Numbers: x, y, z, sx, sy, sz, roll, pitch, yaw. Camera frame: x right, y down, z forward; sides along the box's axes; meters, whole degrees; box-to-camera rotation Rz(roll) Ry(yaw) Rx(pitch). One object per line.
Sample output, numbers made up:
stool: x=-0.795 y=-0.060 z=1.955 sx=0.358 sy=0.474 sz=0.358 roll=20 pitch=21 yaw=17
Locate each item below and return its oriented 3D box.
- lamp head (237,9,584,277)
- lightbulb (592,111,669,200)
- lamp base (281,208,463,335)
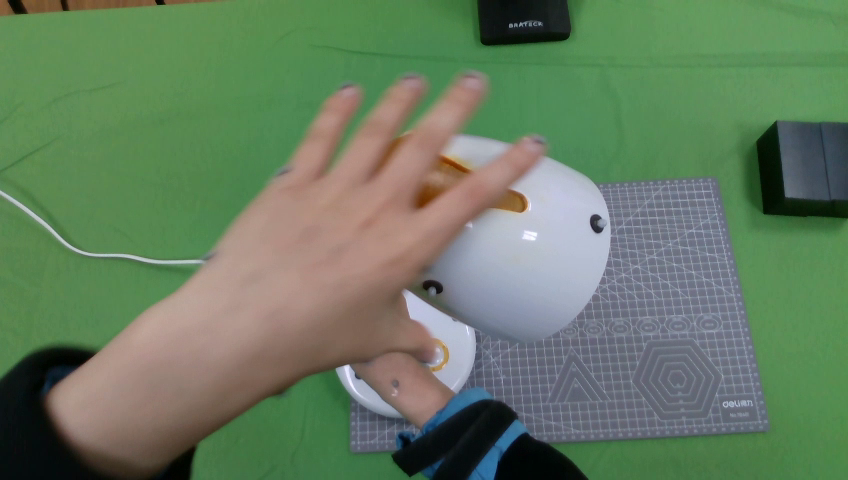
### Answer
lamp head: x=-0.015 y=-0.043 z=0.257 sx=0.124 sy=0.112 sz=0.112 roll=7 pitch=81 yaw=-33
lightbulb: x=0.207 y=-0.090 z=0.622 sx=0.059 sy=0.060 sz=0.107 roll=-26 pitch=68 yaw=-2
lamp base: x=-0.051 y=0.006 z=0.546 sx=0.179 sy=0.181 sz=0.160 roll=5 pitch=83 yaw=4
